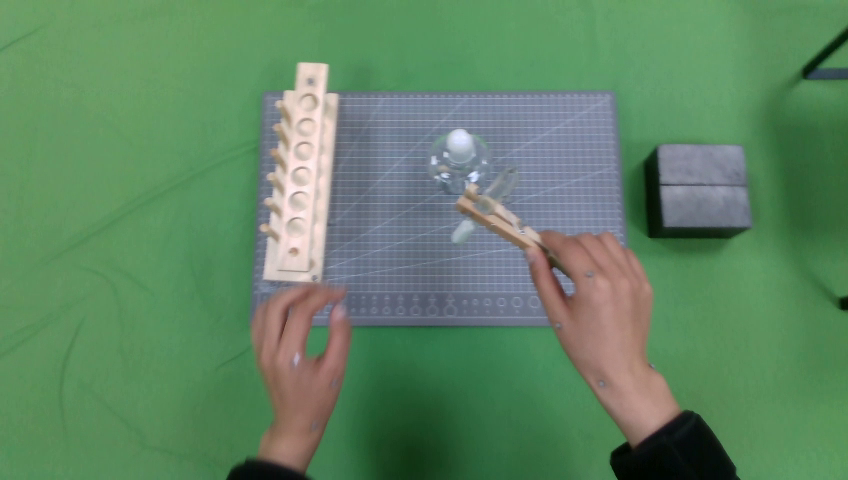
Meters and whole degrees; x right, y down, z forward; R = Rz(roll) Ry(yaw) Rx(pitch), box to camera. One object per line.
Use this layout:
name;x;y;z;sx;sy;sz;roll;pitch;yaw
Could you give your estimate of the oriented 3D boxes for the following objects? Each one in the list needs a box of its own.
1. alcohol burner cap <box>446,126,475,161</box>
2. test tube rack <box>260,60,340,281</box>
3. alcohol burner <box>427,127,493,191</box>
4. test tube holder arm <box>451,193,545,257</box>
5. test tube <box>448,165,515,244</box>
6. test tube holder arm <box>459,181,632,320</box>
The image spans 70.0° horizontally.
alcohol burner cap;0.040;-0.108;0.661;0.034;0.048;0.033;0;82;2
test tube rack;-0.148;-0.080;0.705;0.067;0.085;0.241;4;77;1
alcohol burner;0.042;-0.099;0.696;0.078;0.119;0.077;0;78;1
test tube holder arm;0.063;-0.012;0.508;0.088;0.015;0.010;30;71;-4
test tube;0.044;-0.025;0.515;0.017;0.150;0.017;4;71;-12
test tube holder arm;0.103;0.009;0.511;0.178;0.015;0.013;37;71;-1
